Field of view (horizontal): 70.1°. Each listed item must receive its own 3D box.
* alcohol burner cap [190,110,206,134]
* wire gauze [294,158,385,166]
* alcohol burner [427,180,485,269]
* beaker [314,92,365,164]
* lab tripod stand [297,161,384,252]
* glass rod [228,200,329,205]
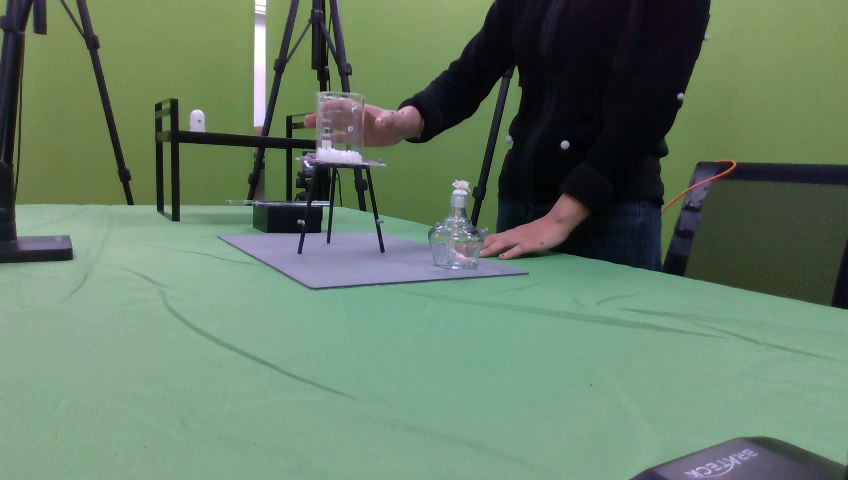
[{"bbox_3d":[-0.464,-0.242,1.240,0.034,0.048,0.034,2,7,0],"label":"alcohol burner cap"},{"bbox_3d":[-0.128,-0.117,0.901,0.125,0.011,0.121,-1,8,-14],"label":"wire gauze"},{"bbox_3d":[0.044,-0.021,0.807,0.078,0.119,0.078,4,6,0],"label":"alcohol burner"},{"bbox_3d":[-0.123,-0.164,0.893,0.073,0.100,0.084,7,9,30],"label":"beaker"},{"bbox_3d":[-0.130,-0.051,0.903,0.148,0.131,0.148,4,9,0],"label":"lab tripod stand"},{"bbox_3d":[-0.268,-0.071,1.148,0.201,0.008,0.008,-1,8,-28],"label":"glass rod"}]
